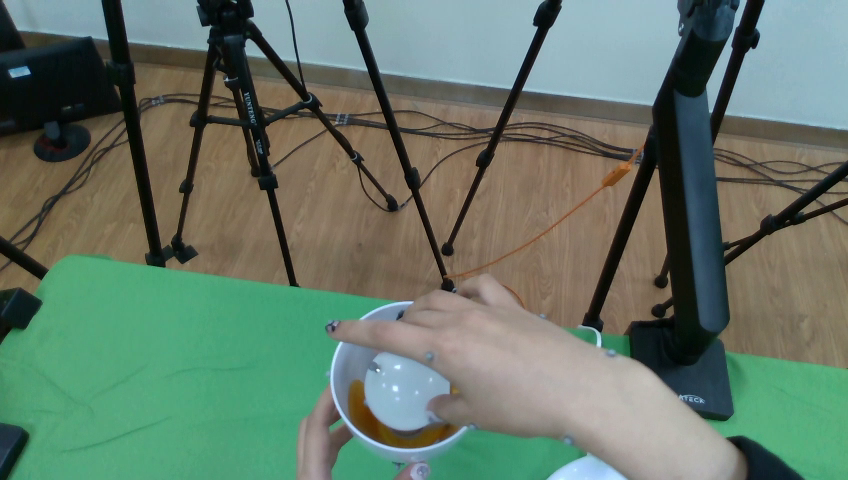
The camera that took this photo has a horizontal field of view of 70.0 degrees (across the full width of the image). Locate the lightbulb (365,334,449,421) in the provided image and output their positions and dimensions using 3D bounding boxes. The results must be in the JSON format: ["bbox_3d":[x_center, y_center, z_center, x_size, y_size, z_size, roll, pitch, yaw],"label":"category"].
[{"bbox_3d":[-0.013,0.107,0.449,0.059,0.108,0.059,1,65,-2],"label":"lightbulb"}]

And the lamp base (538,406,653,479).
[{"bbox_3d":[0.194,0.254,0.608,0.161,0.182,0.177,-4,51,-5],"label":"lamp base"}]

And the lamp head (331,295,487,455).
[{"bbox_3d":[-0.007,0.117,0.474,0.112,0.124,0.111,-2,58,3],"label":"lamp head"}]
